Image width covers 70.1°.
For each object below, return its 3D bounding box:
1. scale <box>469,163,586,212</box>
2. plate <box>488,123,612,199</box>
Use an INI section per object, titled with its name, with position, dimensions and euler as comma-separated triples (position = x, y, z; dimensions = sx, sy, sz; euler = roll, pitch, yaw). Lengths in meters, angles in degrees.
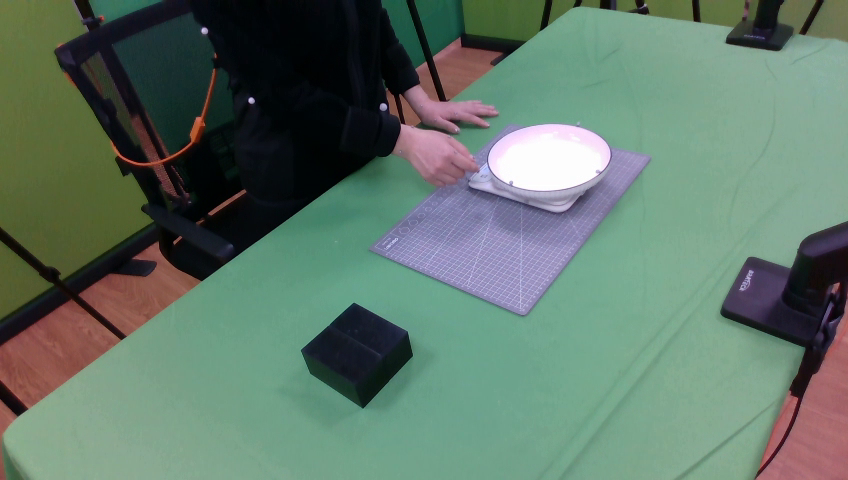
[scale]
position = 0.194, -0.117, 1.076
dimensions = 0.199, 0.032, 0.149
euler = 21, 48, 31
[plate]
position = 0.214, -0.132, 1.037
dimensions = 0.209, 0.038, 0.208
euler = -6, 41, 5
